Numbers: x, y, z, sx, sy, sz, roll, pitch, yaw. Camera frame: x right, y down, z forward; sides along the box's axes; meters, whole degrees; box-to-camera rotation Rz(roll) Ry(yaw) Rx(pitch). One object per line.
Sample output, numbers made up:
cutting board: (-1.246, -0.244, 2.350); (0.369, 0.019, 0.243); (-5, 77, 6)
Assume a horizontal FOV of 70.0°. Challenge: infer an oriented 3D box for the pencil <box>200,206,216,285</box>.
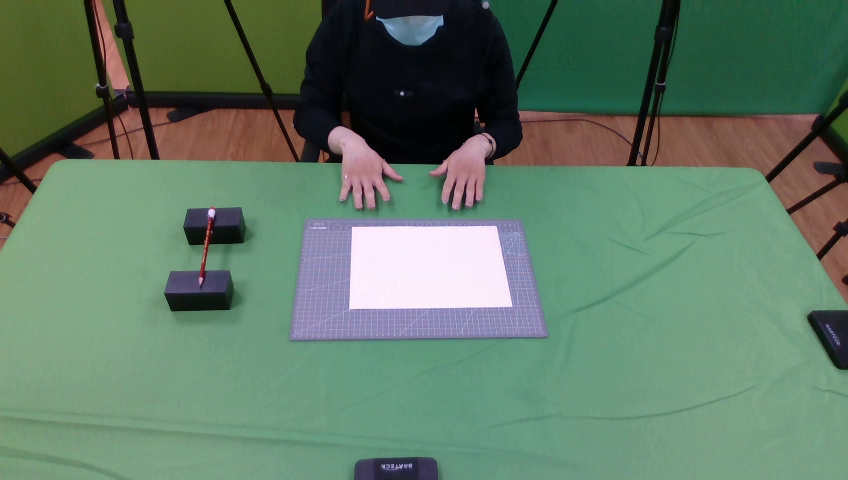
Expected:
pencil: (-0.393, 0.007, 1.098); (0.012, 0.012, 0.192); (-3, 48, -7)
